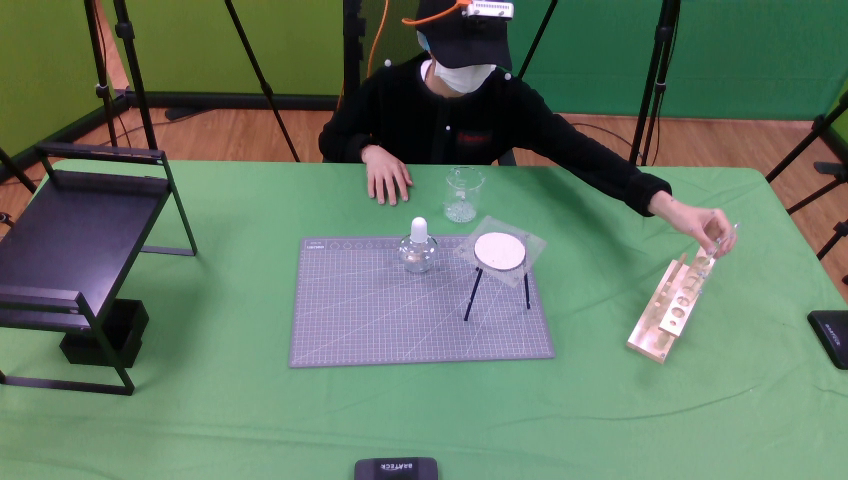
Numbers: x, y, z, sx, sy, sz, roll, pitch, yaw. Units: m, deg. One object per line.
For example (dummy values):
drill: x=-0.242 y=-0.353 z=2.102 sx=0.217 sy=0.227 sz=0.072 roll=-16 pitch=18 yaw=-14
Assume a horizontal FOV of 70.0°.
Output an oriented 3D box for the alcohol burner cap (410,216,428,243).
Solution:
alcohol burner cap: x=-0.009 y=-0.022 z=1.099 sx=0.034 sy=0.048 sz=0.033 roll=2 pitch=42 yaw=-2

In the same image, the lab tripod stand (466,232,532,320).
lab tripod stand: x=0.125 y=0.059 z=1.065 sx=0.148 sy=0.132 sz=0.147 roll=1 pitch=45 yaw=0

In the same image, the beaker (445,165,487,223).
beaker: x=0.082 y=-0.091 z=1.236 sx=0.084 sy=0.101 sz=0.073 roll=-7 pitch=48 yaw=-11

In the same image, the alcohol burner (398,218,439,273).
alcohol burner: x=-0.010 y=0.004 z=1.124 sx=0.078 sy=0.120 sz=0.077 roll=1 pitch=47 yaw=-1

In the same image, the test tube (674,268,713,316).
test tube: x=0.445 y=0.098 z=1.017 sx=0.017 sy=0.151 sz=0.017 roll=3 pitch=49 yaw=-4

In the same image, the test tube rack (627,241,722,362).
test tube rack: x=0.452 y=0.098 z=1.087 sx=0.066 sy=0.085 sz=0.242 roll=28 pitch=51 yaw=22

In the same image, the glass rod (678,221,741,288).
glass rod: x=0.487 y=0.029 z=1.042 sx=0.008 sy=0.200 sz=0.008 roll=5 pitch=54 yaw=-6

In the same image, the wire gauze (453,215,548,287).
wire gauze: x=0.129 y=0.013 z=1.017 sx=0.124 sy=0.011 sz=0.121 roll=28 pitch=50 yaw=23
